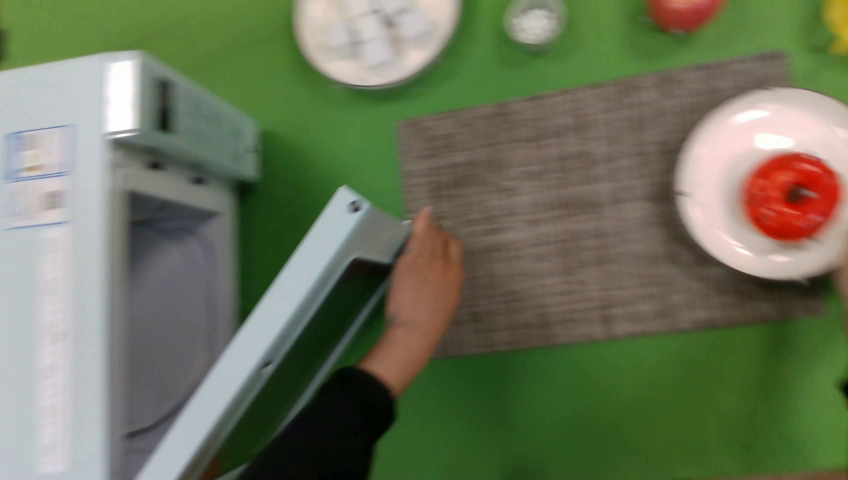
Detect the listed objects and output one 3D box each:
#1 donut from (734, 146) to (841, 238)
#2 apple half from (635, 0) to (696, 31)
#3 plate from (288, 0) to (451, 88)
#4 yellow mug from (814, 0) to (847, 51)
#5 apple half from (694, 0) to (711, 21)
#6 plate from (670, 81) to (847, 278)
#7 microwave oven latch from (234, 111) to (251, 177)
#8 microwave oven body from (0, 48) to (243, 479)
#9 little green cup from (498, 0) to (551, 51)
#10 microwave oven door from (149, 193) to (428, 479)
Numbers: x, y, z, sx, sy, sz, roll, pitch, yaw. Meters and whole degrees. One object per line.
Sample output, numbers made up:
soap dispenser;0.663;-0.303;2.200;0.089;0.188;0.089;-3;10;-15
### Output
donut;0.381;-0.051;0.638;0.099;0.048;0.099;-1;87;13
apple half;0.264;-0.271;0.676;0.053;0.075;0.080;-18;86;15
plate;-0.066;-0.289;0.762;0.207;0.039;0.207;-1;85;11
yellow mug;0.468;-0.254;0.637;0.099;0.064;0.131;40;95;11
apple half;0.301;-0.283;0.669;0.033;0.081;0.081;-18;82;15
plate;0.373;-0.063;0.652;0.209;0.038;0.208;-1;85;12
microwave oven latch;-0.237;-0.120;0.764;0.030;0.029;0.079;-3;86;11
microwave oven body;-0.387;0.062;0.683;0.325;0.261;0.440;-6;85;11
little green cup;0.121;-0.257;0.722;0.061;0.039;0.061;-1;85;12
microwave oven door;-0.133;0.119;0.623;0.039;0.245;0.356;35;93;13
